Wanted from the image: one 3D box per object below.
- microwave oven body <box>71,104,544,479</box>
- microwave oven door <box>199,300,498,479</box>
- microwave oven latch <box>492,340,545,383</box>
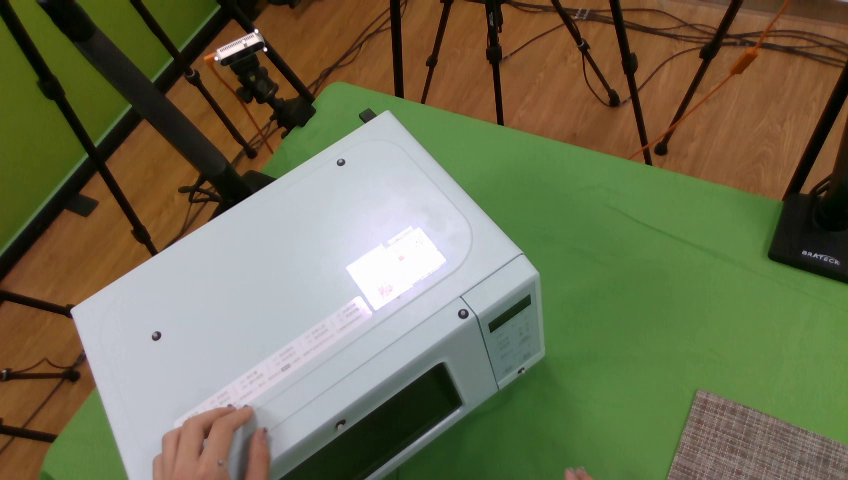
[{"bbox_3d":[-0.124,0.103,0.750,0.442,0.263,0.322,-35,59,-8],"label":"microwave oven body"},{"bbox_3d":[-0.081,0.219,0.665,0.356,0.246,0.039,-34,58,-9],"label":"microwave oven door"},{"bbox_3d":[0.120,0.150,0.783,0.079,0.030,0.030,-33,59,-7],"label":"microwave oven latch"}]
